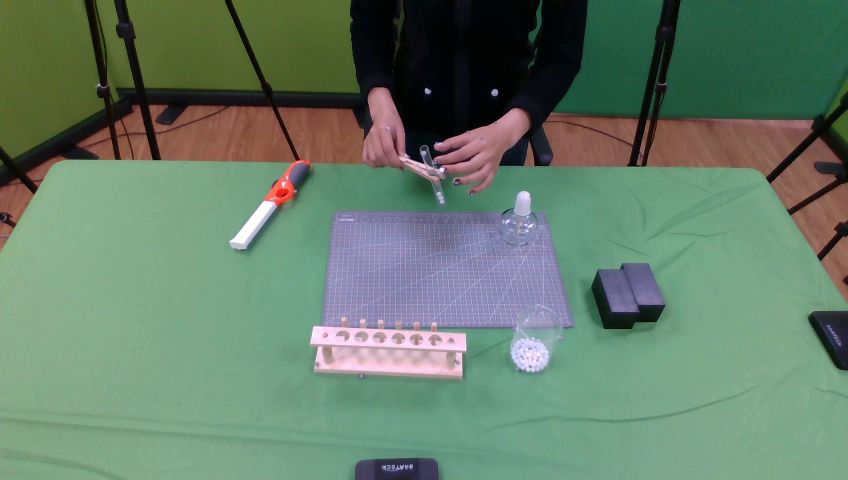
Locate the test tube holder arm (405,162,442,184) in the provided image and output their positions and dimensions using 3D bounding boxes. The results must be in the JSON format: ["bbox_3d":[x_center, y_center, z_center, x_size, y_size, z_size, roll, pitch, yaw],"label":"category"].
[{"bbox_3d":[-0.002,-0.123,1.090,0.010,0.015,0.087,-43,50,-15],"label":"test tube holder arm"}]

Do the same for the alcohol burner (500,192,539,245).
[{"bbox_3d":[0.190,-0.048,1.190,0.078,0.120,0.077,1,47,-1],"label":"alcohol burner"}]

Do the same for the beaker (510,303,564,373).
[{"bbox_3d":[0.182,0.164,1.000,0.074,0.101,0.083,2,46,-1],"label":"beaker"}]

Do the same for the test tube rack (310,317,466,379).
[{"bbox_3d":[-0.056,0.171,0.986,0.242,0.085,0.066,3,45,-1],"label":"test tube rack"}]

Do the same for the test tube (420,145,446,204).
[{"bbox_3d":[0.018,-0.114,1.081,0.017,0.151,0.017,-8,54,11],"label":"test tube"}]

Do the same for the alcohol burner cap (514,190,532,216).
[{"bbox_3d":[0.192,-0.075,1.166,0.034,0.048,0.033,2,41,-1],"label":"alcohol burner cap"}]

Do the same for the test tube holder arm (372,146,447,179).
[{"bbox_3d":[-0.030,-0.144,1.118,0.177,0.015,0.013,25,64,35],"label":"test tube holder arm"}]

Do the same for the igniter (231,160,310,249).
[{"bbox_3d":[-0.311,-0.081,1.250,0.057,0.025,0.275,9,45,18],"label":"igniter"}]
